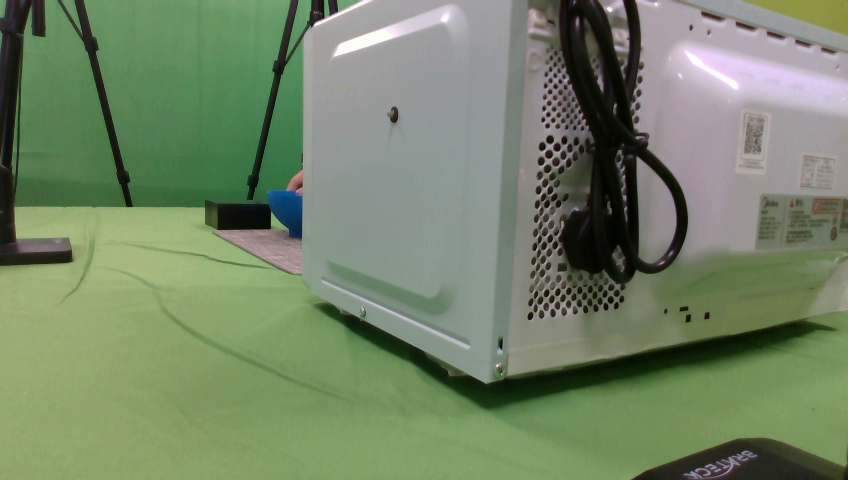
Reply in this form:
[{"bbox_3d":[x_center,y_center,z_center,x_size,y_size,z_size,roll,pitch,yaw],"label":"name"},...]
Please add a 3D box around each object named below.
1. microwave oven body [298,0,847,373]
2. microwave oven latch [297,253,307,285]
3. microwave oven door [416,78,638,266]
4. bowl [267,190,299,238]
[{"bbox_3d":[0.151,-0.055,0.543,0.444,0.260,0.324,-1,7,-33],"label":"microwave oven body"},{"bbox_3d":[-0.082,0.027,0.583,0.079,0.029,0.030,-1,7,-33],"label":"microwave oven latch"},{"bbox_3d":[0.131,-0.105,0.892,0.354,0.243,0.039,9,10,42],"label":"microwave oven door"},{"bbox_3d":[-0.202,-0.046,1.070,0.151,0.077,0.151,3,7,0],"label":"bowl"}]
